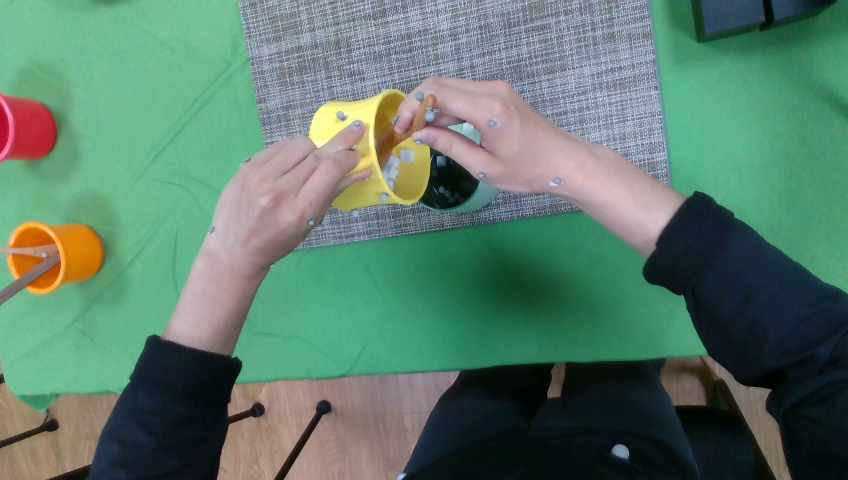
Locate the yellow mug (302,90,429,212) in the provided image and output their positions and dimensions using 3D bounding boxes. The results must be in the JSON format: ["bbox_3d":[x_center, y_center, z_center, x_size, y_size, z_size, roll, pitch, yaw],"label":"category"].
[{"bbox_3d":[-0.054,-0.071,0.523,0.063,0.130,0.100,-4,110,29],"label":"yellow mug"}]

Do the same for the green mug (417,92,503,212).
[{"bbox_3d":[0.033,-0.089,0.624,0.092,0.105,0.125,9,99,14],"label":"green mug"}]

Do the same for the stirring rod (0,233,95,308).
[{"bbox_3d":[-0.500,0.049,0.771,0.014,0.006,0.176,42,64,5],"label":"stirring rod"}]

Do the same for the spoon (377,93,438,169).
[{"bbox_3d":[-0.013,-0.086,0.471,0.022,0.193,0.041,18,84,-15],"label":"spoon"}]

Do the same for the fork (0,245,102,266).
[{"bbox_3d":[-0.527,0.016,0.768,0.208,0.018,0.028,3,98,-29],"label":"fork"}]
